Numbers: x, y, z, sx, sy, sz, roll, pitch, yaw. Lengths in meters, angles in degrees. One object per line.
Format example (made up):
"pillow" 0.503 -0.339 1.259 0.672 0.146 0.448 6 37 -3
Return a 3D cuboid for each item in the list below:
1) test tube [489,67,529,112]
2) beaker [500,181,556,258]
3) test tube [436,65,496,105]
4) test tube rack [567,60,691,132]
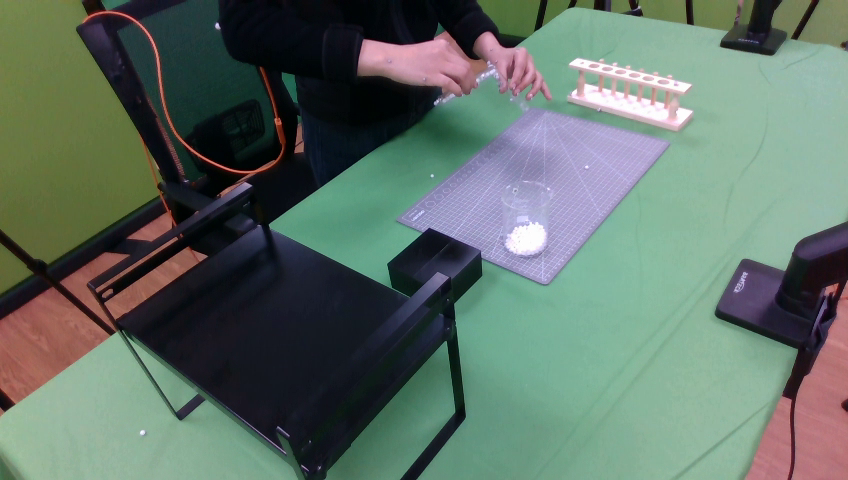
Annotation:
"test tube" 0.154 -0.265 1.080 0.017 0.152 0.017 -10 70 29
"beaker" 0.159 -0.030 0.922 0.084 0.100 0.073 -13 41 -8
"test tube" 0.069 -0.250 0.974 0.017 0.017 0.151 24 46 32
"test tube rack" 0.411 -0.299 1.217 0.240 0.085 0.067 26 51 34
